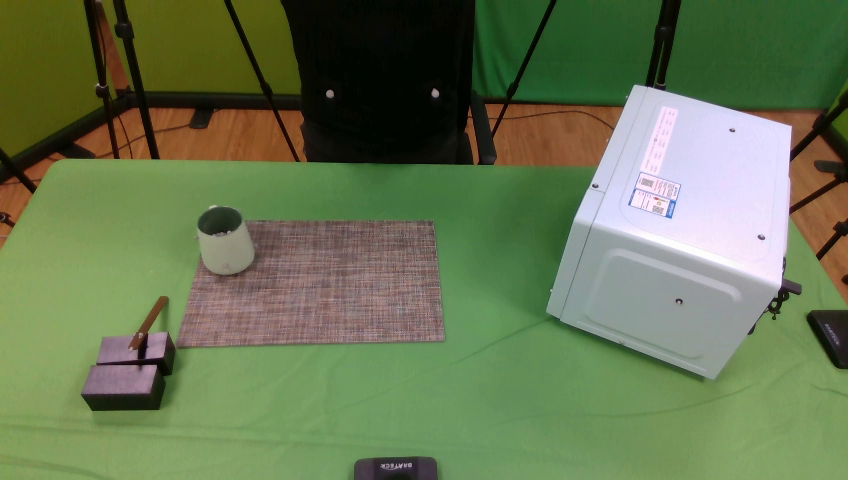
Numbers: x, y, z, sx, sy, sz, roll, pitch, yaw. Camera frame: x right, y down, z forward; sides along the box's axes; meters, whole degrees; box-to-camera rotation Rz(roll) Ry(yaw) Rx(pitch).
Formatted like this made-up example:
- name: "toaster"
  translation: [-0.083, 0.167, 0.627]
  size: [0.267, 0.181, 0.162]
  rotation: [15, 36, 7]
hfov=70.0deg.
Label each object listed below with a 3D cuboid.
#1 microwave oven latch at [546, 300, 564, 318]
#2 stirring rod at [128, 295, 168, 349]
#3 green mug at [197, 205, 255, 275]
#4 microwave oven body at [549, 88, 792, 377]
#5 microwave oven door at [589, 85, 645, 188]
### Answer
- name: "microwave oven latch"
  translation: [0.242, 0.102, 1.081]
  size: [0.030, 0.029, 0.079]
  rotation: [21, 48, 17]
- name: "stirring rod"
  translation: [-0.451, 0.131, 0.996]
  size: [0.014, 0.006, 0.175]
  rotation: [9, 20, -10]
- name: "green mug"
  translation: [-0.370, -0.008, 1.114]
  size: [0.092, 0.105, 0.124]
  rotation: [-19, 50, -20]
- name: "microwave oven body"
  translation: [0.456, -0.028, 1.088]
  size: [0.325, 0.261, 0.440]
  rotation: [20, 47, 16]
- name: "microwave oven door"
  translation: [0.342, -0.107, 1.149]
  size: [0.039, 0.245, 0.354]
  rotation: [20, 48, 15]
